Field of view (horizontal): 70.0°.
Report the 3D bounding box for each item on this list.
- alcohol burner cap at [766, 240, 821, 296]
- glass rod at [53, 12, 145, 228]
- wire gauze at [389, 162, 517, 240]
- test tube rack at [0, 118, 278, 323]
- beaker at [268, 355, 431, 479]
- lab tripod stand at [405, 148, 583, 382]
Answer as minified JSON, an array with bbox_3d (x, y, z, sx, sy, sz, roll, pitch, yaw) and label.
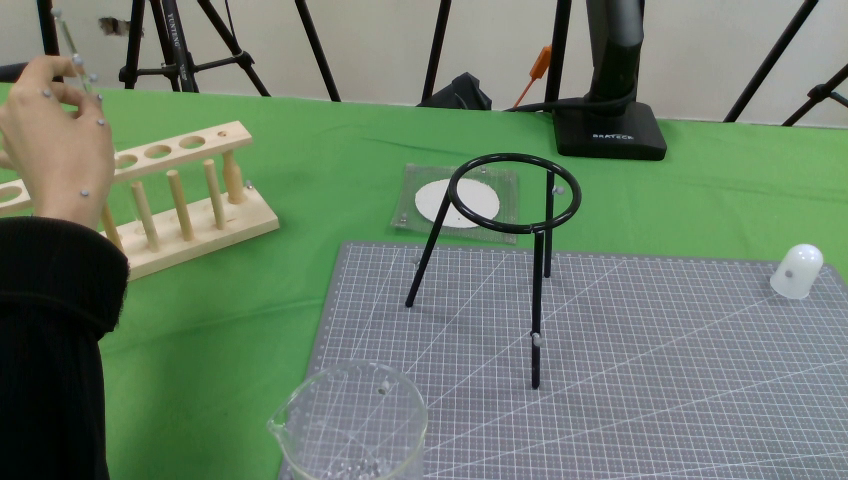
[{"bbox_3d":[0.316,0.021,0.515,0.034,0.048,0.033,1,40,-1],"label":"alcohol burner cap"},{"bbox_3d":[-0.253,-0.084,0.487,0.008,0.201,0.008,0,43,0],"label":"glass rod"},{"bbox_3d":[0.032,-0.046,0.617,0.125,0.011,0.120,5,39,5],"label":"wire gauze"},{"bbox_3d":[-0.257,-0.023,0.520,0.243,0.086,0.066,-22,46,-25],"label":"test tube rack"},{"bbox_3d":[-0.038,0.125,0.338,0.084,0.101,0.073,1,40,1],"label":"beaker"},{"bbox_3d":[0.056,0.011,0.448,0.148,0.132,0.147,0,42,0],"label":"lab tripod stand"}]
